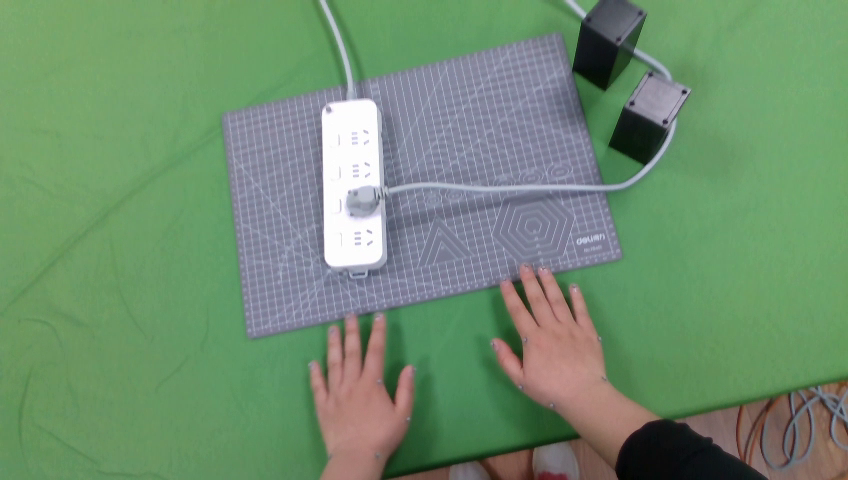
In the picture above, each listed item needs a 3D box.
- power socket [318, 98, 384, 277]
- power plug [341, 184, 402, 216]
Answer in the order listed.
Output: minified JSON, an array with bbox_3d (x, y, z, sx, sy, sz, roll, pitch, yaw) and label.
[{"bbox_3d":[-0.090,-0.069,0.735,0.072,0.033,0.225,-5,76,5],"label":"power socket"},{"bbox_3d":[-0.061,-0.044,0.707,0.072,0.053,0.035,6,77,6],"label":"power plug"}]
